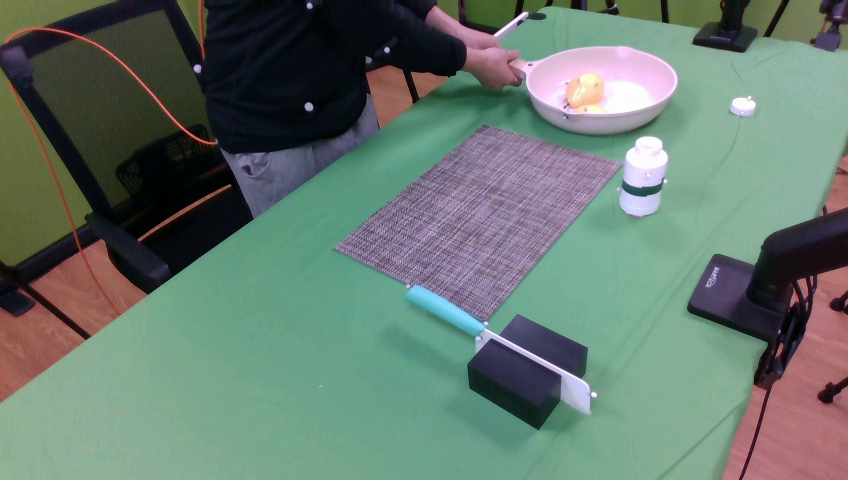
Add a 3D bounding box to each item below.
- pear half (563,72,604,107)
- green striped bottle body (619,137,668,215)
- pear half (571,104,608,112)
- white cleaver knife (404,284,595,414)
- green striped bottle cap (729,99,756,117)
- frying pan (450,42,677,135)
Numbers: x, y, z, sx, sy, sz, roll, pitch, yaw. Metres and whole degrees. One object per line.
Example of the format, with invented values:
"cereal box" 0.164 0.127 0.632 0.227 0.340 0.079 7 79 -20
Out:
"pear half" 0.325 -0.311 1.256 0.075 0.056 0.110 25 53 39
"green striped bottle body" 0.350 -0.103 0.963 0.063 0.120 0.063 -4 41 4
"pear half" 0.328 -0.253 1.204 0.088 0.031 0.070 9 39 13
"white cleaver knife" 0.083 0.135 0.764 0.284 0.066 0.021 28 46 31
"green striped bottle cap" 0.623 -0.259 1.182 0.044 0.020 0.044 -3 40 3
"frying pan" 0.268 -0.344 1.266 0.485 0.103 0.307 26 49 21
